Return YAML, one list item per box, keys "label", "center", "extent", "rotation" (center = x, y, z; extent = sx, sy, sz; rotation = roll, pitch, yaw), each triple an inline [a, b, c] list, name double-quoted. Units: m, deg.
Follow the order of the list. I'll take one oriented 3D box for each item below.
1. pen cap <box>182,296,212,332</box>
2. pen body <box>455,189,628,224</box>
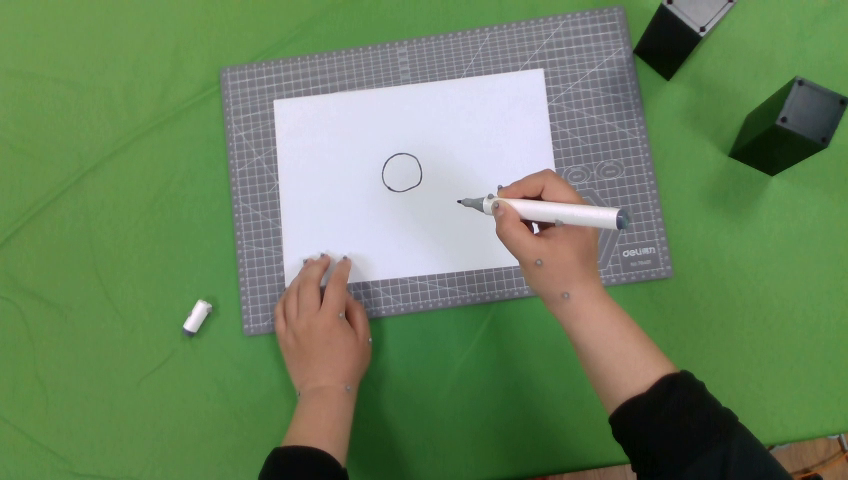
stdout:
- label: "pen cap"
  center: [-0.241, 0.079, 0.640]
  extent: [0.017, 0.017, 0.038]
  rotation: [30, 85, 7]
- label: "pen body"
  center: [0.083, -0.028, 0.465]
  extent: [0.143, 0.017, 0.017]
  rotation: [10, 82, 36]
